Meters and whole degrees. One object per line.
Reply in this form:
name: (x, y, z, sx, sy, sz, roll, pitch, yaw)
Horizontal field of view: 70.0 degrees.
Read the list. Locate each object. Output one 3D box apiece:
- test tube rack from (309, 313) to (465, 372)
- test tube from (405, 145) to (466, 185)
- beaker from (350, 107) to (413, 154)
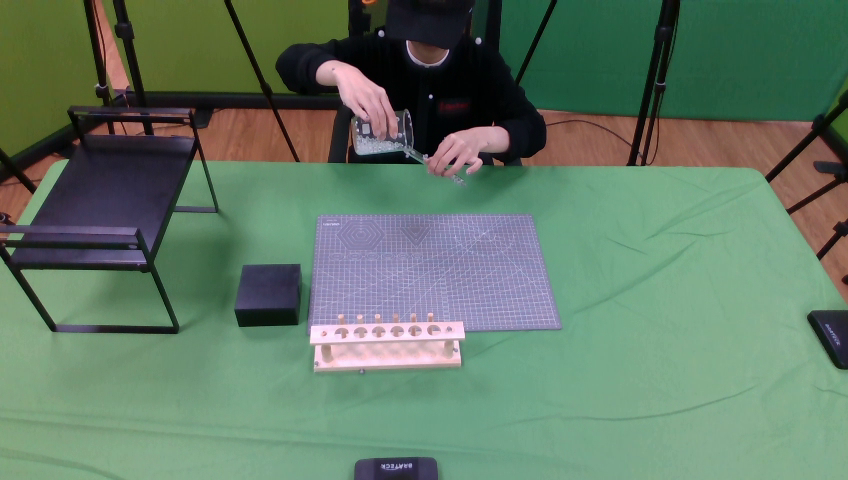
test tube rack: (-0.059, 0.161, 0.990, 0.242, 0.085, 0.066, -1, 46, -5)
test tube: (0.024, -0.139, 1.139, 0.151, 0.017, 0.017, 27, 35, -34)
beaker: (-0.075, -0.188, 1.064, 0.100, 0.084, 0.073, -8, 42, -10)
